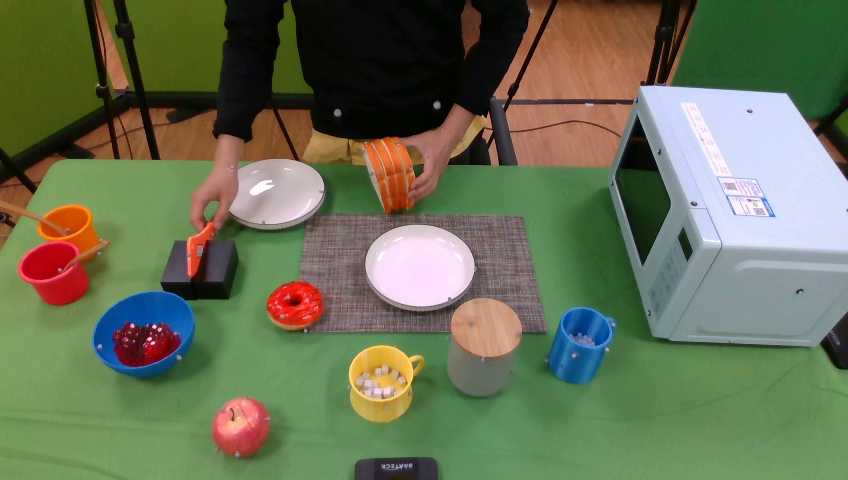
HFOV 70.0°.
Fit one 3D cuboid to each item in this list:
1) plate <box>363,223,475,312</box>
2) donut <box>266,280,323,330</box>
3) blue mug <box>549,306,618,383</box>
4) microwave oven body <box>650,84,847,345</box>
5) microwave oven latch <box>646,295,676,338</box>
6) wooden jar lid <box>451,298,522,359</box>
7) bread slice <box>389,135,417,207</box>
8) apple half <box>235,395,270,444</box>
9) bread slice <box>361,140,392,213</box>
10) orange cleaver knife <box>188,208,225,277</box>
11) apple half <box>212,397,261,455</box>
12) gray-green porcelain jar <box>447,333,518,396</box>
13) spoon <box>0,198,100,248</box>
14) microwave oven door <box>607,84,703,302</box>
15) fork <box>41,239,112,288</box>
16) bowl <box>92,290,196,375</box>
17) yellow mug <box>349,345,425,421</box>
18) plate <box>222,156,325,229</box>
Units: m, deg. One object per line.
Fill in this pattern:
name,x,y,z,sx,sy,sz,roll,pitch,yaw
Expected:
plate,-0.009,0.054,1.126,0.208,0.039,0.206,2,46,-2
donut,-0.223,0.113,1.051,0.099,0.048,0.098,2,46,-1
blue mug,0.269,0.167,0.997,0.116,0.106,0.082,-19,50,-21
microwave oven body,0.569,-0.054,1.116,0.326,0.261,0.439,2,46,-1
microwave oven latch,0.413,0.133,1.060,0.030,0.029,0.078,4,46,1
wooden jar lid,0.094,0.135,0.914,0.108,0.021,0.107,2,48,-3
bread slice,-0.042,-0.144,1.213,0.019,0.132,0.104,-20,54,-13
apple half,-0.245,0.260,0.893,0.033,0.082,0.081,-29,55,-22
bread slice,-0.095,-0.134,1.203,0.018,0.135,0.106,-22,54,-7
orange cleaver knife,-0.401,0.000,1.123,0.012,0.077,0.210,3,22,-3
apple half,-0.276,0.276,0.877,0.053,0.075,0.080,-29,58,-21
gray-green porcelain jar,0.091,0.178,0.960,0.106,0.127,0.105,2,46,-2
spoon,-0.684,-0.035,1.092,0.021,0.195,0.041,-32,42,28
microwave oven door,0.424,-0.096,1.138,0.039,0.245,0.353,3,46,-1
fork,-0.591,0.040,1.028,0.207,0.019,0.028,-27,36,29
bowl,-0.436,0.161,0.971,0.151,0.077,0.150,2,46,-2
yellow mug,-0.054,0.217,0.954,0.131,0.064,0.099,-24,52,-25
plate,-0.308,-0.095,1.251,0.209,0.038,0.208,3,47,-3
